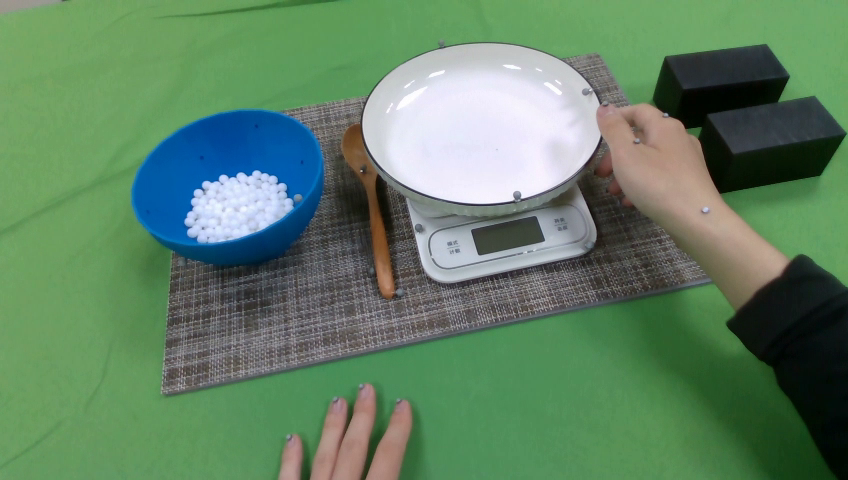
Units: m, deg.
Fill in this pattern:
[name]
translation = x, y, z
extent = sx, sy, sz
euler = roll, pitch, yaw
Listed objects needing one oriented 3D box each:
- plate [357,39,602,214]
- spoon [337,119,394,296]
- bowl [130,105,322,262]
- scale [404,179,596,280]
[plate]
translation = 0.047, -0.099, 0.529
extent = 0.209, 0.038, 0.207
euler = -2, 53, 2
[spoon]
translation = -0.049, -0.035, 0.535
extent = 0.042, 0.022, 0.191
euler = -3, 52, -14
[bowl]
translation = -0.153, -0.034, 0.508
extent = 0.151, 0.077, 0.150
euler = -2, 53, 3
[scale]
translation = 0.053, -0.062, 0.541
extent = 0.149, 0.032, 0.198
euler = -12, 54, -4
